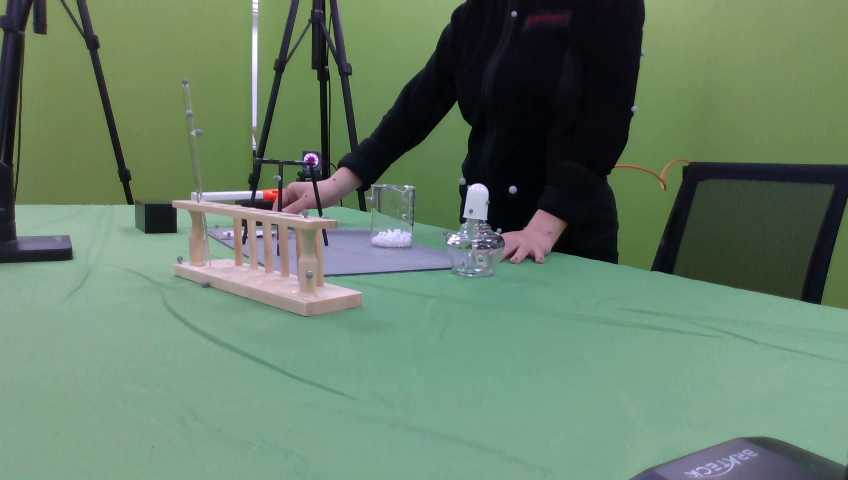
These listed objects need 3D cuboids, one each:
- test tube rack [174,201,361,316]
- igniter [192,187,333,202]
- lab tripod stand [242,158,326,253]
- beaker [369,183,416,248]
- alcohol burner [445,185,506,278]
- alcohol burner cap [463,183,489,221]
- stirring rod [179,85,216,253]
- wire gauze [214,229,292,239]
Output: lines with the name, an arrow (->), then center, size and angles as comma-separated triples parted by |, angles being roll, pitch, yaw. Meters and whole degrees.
test tube rack -> -0.169, 0.010, 0.622 | 0.241, 0.085, 0.067 | 9, 9, 41
igniter -> -0.316, -0.090, 1.213 | 0.278, 0.025, 0.057 | -5, 13, -31
lab tripod stand -> -0.207, -0.054, 0.895 | 0.148, 0.131, 0.148 | 3, 5, 0
beaker -> -0.050, -0.039, 0.971 | 0.074, 0.100, 0.083 | -1, 9, -25
alcohol burner -> 0.066, -0.013, 0.770 | 0.078, 0.119, 0.078 | 1, 7, 0
alcohol burner cap -> 0.067, -0.048, 0.765 | 0.034, 0.048, 0.034 | 5, 5, 0
stirring rod -> -0.237, -0.073, 0.634 | 0.006, 0.176, 0.014 | 0, 10, 42
wire gauze -> -0.298, -0.013, 1.039 | 0.122, 0.011, 0.124 | -2, 6, -27
